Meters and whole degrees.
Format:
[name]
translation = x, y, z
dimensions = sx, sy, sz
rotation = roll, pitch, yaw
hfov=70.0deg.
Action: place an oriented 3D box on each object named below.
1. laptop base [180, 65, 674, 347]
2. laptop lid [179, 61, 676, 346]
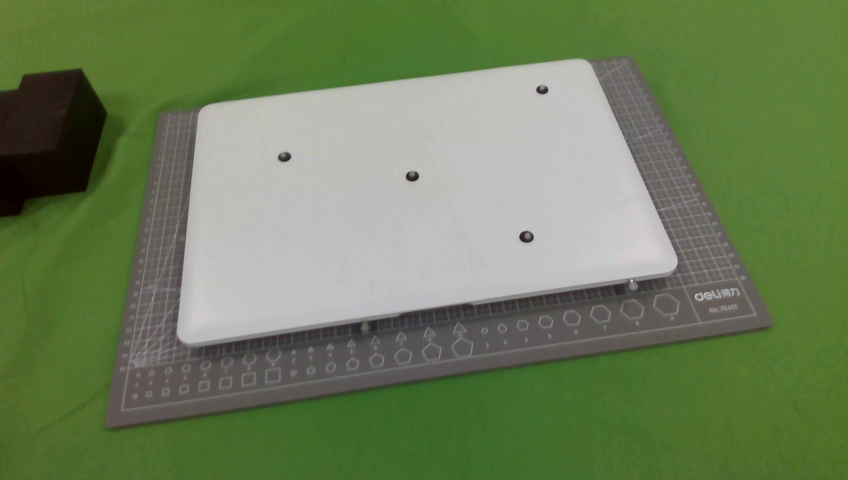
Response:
[laptop base]
translation = -0.008, -0.041, 0.491
dimensions = 0.355, 0.023, 0.233
rotation = -8, 57, -3
[laptop lid]
translation = -0.009, -0.046, 0.480
dimensions = 0.357, 0.013, 0.239
rotation = -7, 56, -2
